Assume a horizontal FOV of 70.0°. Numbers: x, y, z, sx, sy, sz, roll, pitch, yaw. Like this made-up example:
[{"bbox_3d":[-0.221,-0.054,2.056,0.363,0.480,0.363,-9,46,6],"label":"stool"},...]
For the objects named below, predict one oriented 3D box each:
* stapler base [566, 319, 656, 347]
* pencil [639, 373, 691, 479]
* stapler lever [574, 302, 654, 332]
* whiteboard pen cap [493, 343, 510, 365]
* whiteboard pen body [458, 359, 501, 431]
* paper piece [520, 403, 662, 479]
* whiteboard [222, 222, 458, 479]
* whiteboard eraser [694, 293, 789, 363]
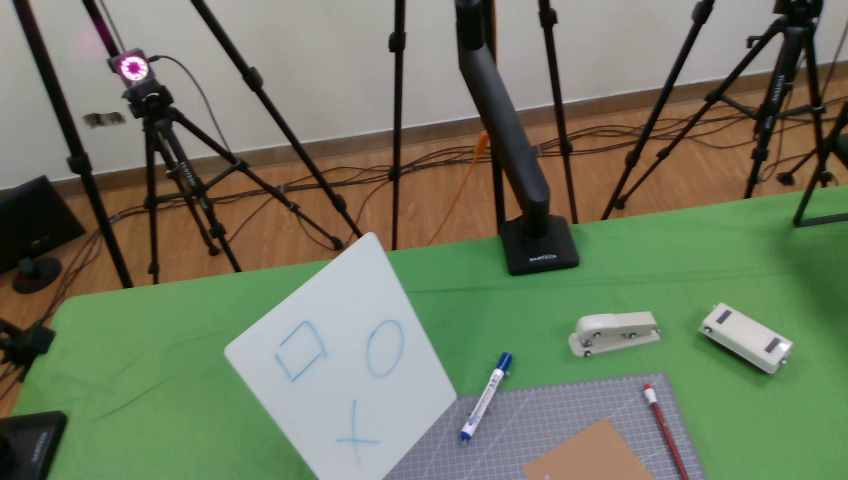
[{"bbox_3d":[0.280,0.127,0.908,0.131,0.025,0.041,-11,50,-4],"label":"stapler base"},{"bbox_3d":[0.319,0.258,0.785,0.012,0.012,0.192,-11,49,-1],"label":"pencil"},{"bbox_3d":[0.279,0.110,0.890,0.118,0.040,0.026,-12,50,-3],"label":"stapler lever"},{"bbox_3d":[0.114,0.169,0.895,0.018,0.018,0.033,16,52,23],"label":"whiteboard pen cap"},{"bbox_3d":[0.086,0.209,0.864,0.017,0.017,0.140,18,52,24],"label":"whiteboard pen body"},{"bbox_3d":[0.214,0.295,0.770,0.136,0.009,0.136,-27,51,-10],"label":"paper piece"},{"bbox_3d":[-0.123,0.148,0.799,0.217,0.308,0.142,-41,34,-25],"label":"whiteboard"},{"bbox_3d":[0.452,0.127,0.867,0.055,0.042,0.111,-39,53,-22],"label":"whiteboard eraser"}]
